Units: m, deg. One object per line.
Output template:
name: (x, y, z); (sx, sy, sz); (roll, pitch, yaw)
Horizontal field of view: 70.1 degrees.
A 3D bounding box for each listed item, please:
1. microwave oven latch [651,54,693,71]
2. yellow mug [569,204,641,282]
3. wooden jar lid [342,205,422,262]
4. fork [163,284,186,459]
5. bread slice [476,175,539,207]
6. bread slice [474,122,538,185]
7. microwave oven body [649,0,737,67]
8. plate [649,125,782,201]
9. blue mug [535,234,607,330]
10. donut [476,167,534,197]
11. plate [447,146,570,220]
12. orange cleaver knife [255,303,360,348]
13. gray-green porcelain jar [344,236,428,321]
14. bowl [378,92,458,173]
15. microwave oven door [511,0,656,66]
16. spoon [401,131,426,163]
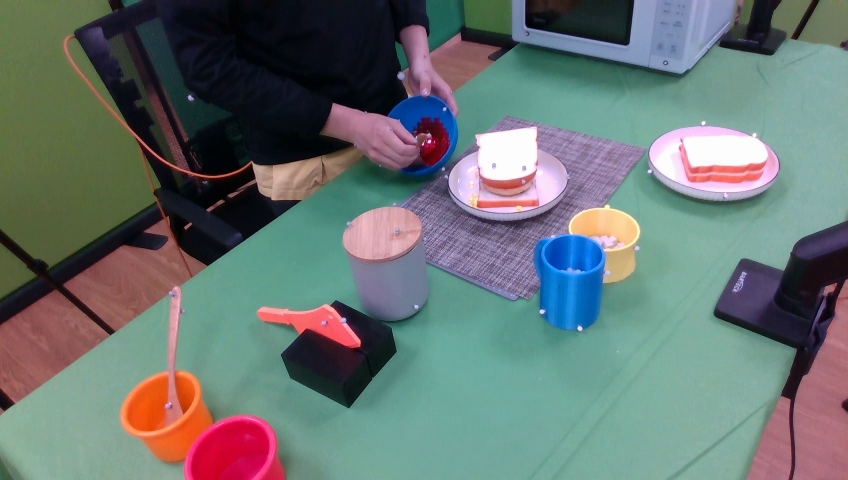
microwave oven latch: (0.532, -0.386, 1.301); (0.078, 0.029, 0.030); (27, 52, 34)
yellow mug: (0.268, -0.005, 0.904); (0.099, 0.064, 0.130); (7, 41, 15)
wooden jar lid: (-0.055, -0.006, 0.808); (0.108, 0.021, 0.108); (-6, 40, 6)
fork: (-0.302, 0.157, 0.733); (0.028, 0.019, 0.207); (-3, 84, 15)
bread slice: (0.144, -0.105, 1.058); (0.105, 0.019, 0.131); (-1, 43, 6)
bread slice: (0.141, -0.144, 1.008); (0.107, 0.018, 0.133); (-8, 48, 9)
microwave oven body: (0.475, -0.602, 1.411); (0.438, 0.261, 0.327); (23, 50, 32)
plate: (0.493, -0.128, 1.036); (0.207, 0.039, 0.206); (-4, 41, 4)
blue mug: (0.190, 0.048, 0.824); (0.082, 0.106, 0.115); (-26, 44, -21)
donut: (0.138, -0.116, 1.025); (0.099, 0.048, 0.098); (-8, 55, 13)
plate: (0.145, -0.098, 1.046); (0.209, 0.038, 0.208); (-4, 41, 4)
orange cleaver knife: (-0.161, 0.115, 0.813); (0.210, 0.077, 0.012); (-4, 32, 47)
gray-green porcelain jar: (-0.049, 0.042, 0.849); (0.106, 0.127, 0.105); (-4, 41, 4)
bowl: (0.001, -0.186, 1.109); (0.150, 0.077, 0.151); (-5, 77, 22)
microwave oven door: (0.351, -0.539, 1.349); (0.353, 0.245, 0.039); (24, 50, 31)
spoon: (-0.014, -0.159, 1.025); (0.042, 0.193, 0.021); (13, 80, -5)
